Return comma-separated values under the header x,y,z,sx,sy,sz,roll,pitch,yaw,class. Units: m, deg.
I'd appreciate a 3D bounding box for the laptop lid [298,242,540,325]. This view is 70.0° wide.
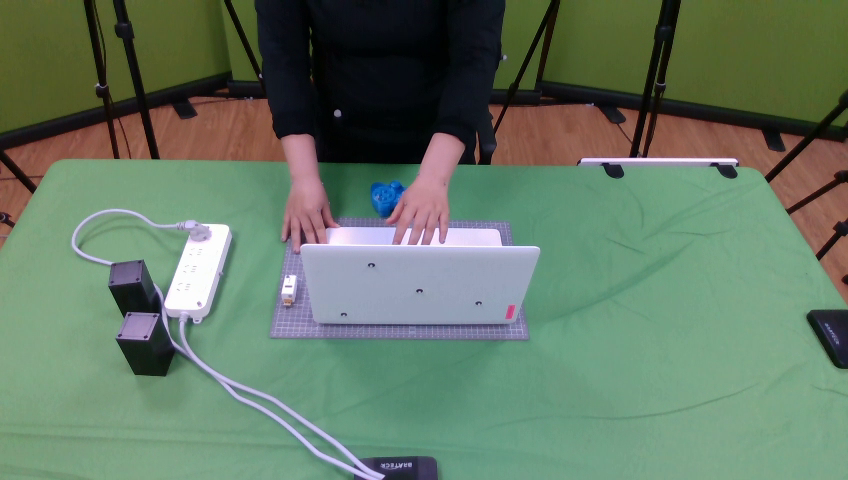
x,y,z,sx,sy,sz,roll,pitch,yaw,class
-0.010,0.076,0.958,0.357,0.243,0.013,1,53,-5,laptop lid

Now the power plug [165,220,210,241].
x,y,z,sx,sy,sz,roll,pitch,yaw,class
-0.440,-0.015,1.143,0.072,0.053,0.035,6,46,9,power plug

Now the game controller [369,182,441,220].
x,y,z,sx,sy,sz,roll,pitch,yaw,class
-0.039,-0.091,1.268,0.155,0.052,0.096,2,49,-3,game controller

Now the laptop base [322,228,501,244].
x,y,z,sx,sy,sz,roll,pitch,yaw,class
-0.020,0.064,1.136,0.355,0.023,0.234,0,42,-4,laptop base

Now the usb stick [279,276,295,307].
x,y,z,sx,sy,sz,roll,pitch,yaw,class
-0.244,0.093,1.080,0.021,0.027,0.059,2,47,-3,usb stick

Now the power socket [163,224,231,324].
x,y,z,sx,sy,sz,roll,pitch,yaw,class
-0.411,0.052,1.107,0.072,0.033,0.225,3,46,-3,power socket
